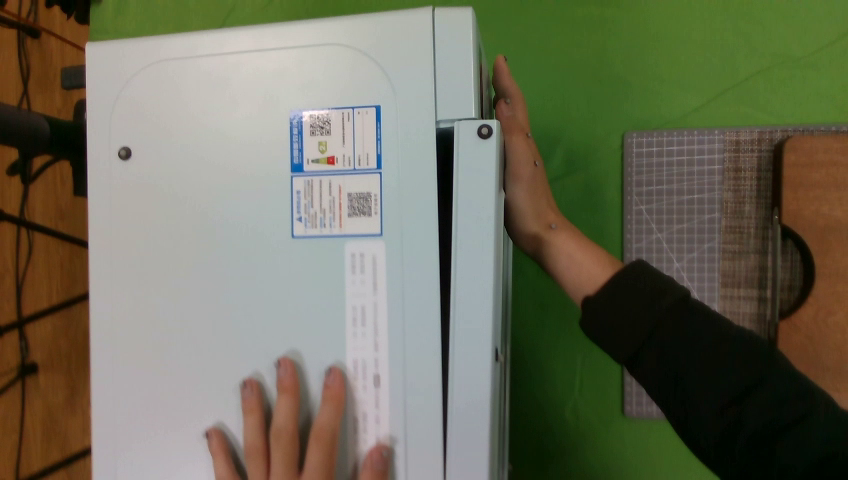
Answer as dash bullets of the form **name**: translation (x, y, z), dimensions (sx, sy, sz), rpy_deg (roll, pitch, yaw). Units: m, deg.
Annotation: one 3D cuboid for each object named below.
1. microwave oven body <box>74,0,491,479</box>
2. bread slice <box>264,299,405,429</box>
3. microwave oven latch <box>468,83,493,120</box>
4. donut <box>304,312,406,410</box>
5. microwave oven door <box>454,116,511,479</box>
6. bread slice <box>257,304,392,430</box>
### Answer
- **microwave oven body**: translation (-0.101, 0.056, 0.555), dimensions (0.325, 0.260, 0.441), rpy_deg (-2, 90, 9)
- **bread slice**: translation (-0.097, 0.120, 0.607), dimensions (0.131, 0.019, 0.105), rpy_deg (20, 95, 7)
- **microwave oven latch**: translation (0.058, -0.124, 0.625), dimensions (0.030, 0.029, 0.079), rpy_deg (-3, 90, 9)
- **donut**: translation (-0.066, 0.115, 0.581), dimensions (0.099, 0.048, 0.099), rpy_deg (0, 105, 0)
- **microwave oven door**: translation (0.052, 0.093, 0.524), dimensions (0.039, 0.244, 0.355), rpy_deg (1, 90, 11)
- **bread slice**: translation (-0.089, 0.112, 0.539), dimensions (0.134, 0.018, 0.107), rpy_deg (-5, 90, 22)
